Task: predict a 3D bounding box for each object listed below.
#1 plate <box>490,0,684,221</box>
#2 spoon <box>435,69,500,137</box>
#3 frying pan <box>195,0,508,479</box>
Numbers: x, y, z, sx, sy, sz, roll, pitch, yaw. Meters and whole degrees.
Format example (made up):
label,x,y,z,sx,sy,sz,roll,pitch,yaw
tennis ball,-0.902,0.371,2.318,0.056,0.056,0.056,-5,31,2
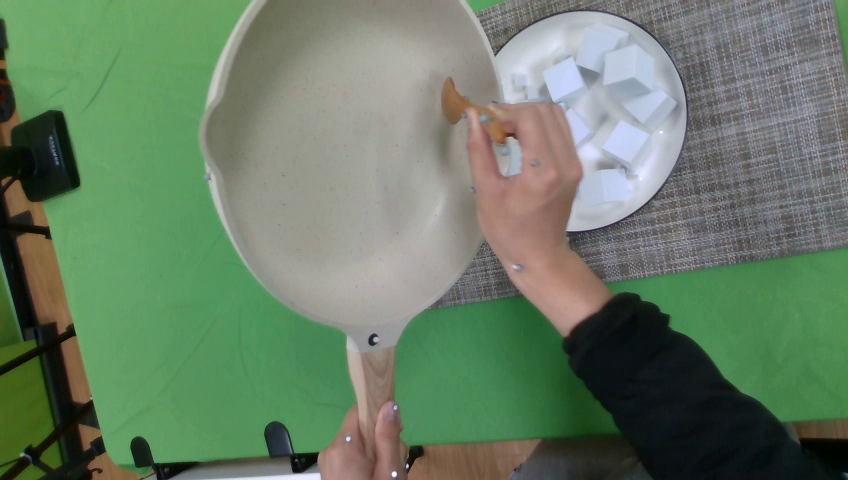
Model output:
label,x,y,z,sx,sy,sz,roll,pitch,yaw
plate,0.142,-0.123,0.590,0.206,0.039,0.208,4,100,24
spoon,0.032,-0.105,0.467,0.022,0.192,0.042,-12,112,-8
frying pan,-0.048,0.022,0.502,0.102,0.308,0.488,3,95,46
